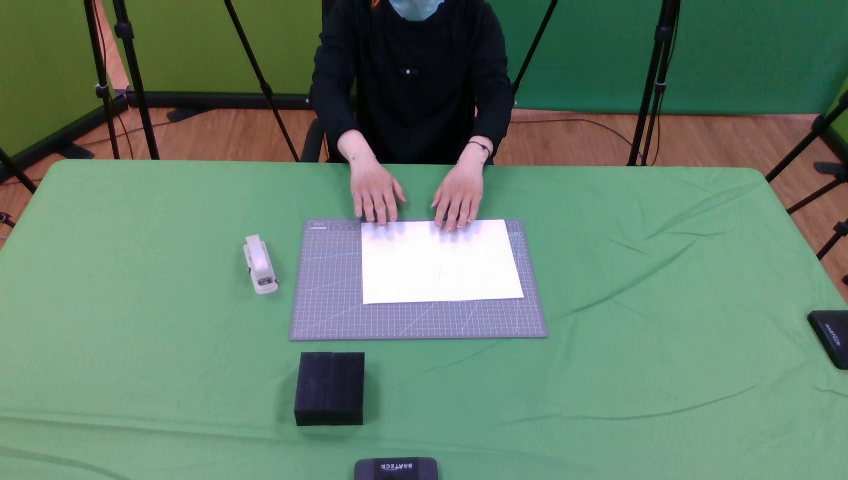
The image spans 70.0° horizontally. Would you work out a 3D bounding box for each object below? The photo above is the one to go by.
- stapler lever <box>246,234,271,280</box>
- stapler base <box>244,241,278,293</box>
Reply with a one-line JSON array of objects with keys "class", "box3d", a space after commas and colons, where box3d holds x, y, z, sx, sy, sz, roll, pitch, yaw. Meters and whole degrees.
[{"class": "stapler lever", "box3d": [-0.305, 0.026, 1.113, 0.027, 0.040, 0.117, -13, 48, -19]}, {"class": "stapler base", "box3d": [-0.305, 0.043, 1.130, 0.041, 0.024, 0.129, -13, 47, -19]}]
